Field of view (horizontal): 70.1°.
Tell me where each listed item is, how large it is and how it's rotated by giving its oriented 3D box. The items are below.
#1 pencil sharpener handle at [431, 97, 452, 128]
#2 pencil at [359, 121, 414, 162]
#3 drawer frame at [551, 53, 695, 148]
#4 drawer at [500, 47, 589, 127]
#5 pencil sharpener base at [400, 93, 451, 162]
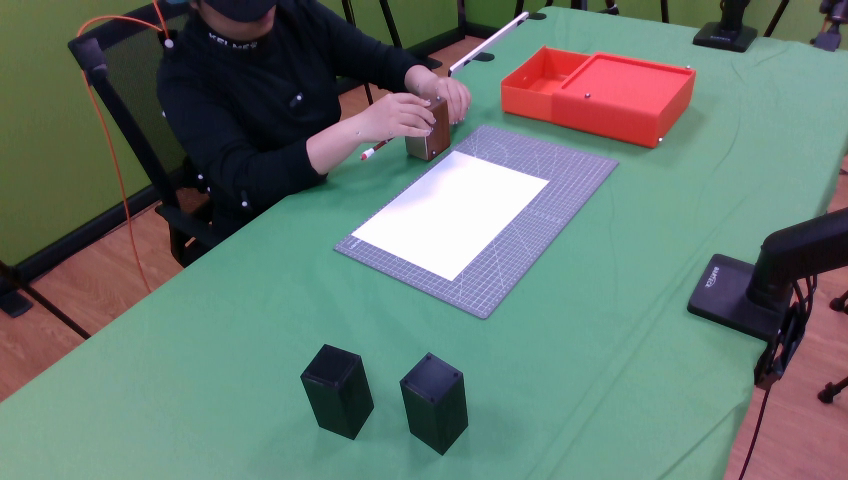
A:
[{"bbox_3d":[0.038,-0.253,1.179,0.035,0.068,0.031,23,49,34],"label":"pencil sharpener handle"},{"bbox_3d":[-0.051,-0.193,1.099,0.012,0.012,0.194,23,49,32],"label":"pencil"},{"bbox_3d":[0.391,-0.281,1.196,0.212,0.083,0.202,22,48,29],"label":"drawer frame"},{"bbox_3d":[0.295,-0.316,1.255,0.210,0.073,0.195,22,47,29],"label":"drawer"},{"bbox_3d":[0.006,-0.216,1.159,0.061,0.107,0.077,25,49,33],"label":"pencil sharpener base"}]
